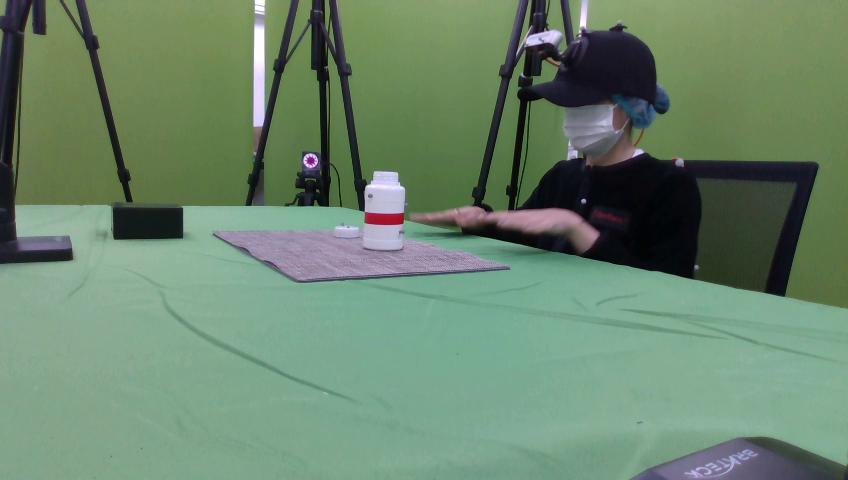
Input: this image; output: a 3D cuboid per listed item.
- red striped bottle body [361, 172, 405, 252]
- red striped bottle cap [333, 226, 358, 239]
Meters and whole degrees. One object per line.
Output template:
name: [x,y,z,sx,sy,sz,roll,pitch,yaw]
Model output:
red striped bottle body: [-0.062,-0.045,0.933,0.063,0.119,0.063,4,8,0]
red striped bottle cap: [-0.139,-0.013,1.069,0.044,0.017,0.044,0,9,0]
